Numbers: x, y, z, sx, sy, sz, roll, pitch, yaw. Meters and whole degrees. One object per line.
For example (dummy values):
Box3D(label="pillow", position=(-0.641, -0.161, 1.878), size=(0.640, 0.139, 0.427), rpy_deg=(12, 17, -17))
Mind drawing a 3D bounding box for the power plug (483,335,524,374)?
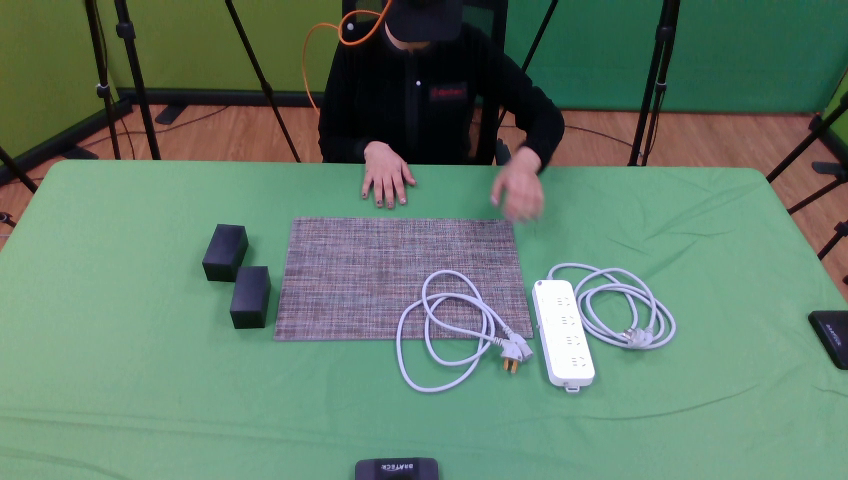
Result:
Box3D(label="power plug", position=(0.132, 0.193, 1.019), size=(0.072, 0.035, 0.052), rpy_deg=(7, 68, 25))

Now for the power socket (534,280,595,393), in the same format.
Box3D(label="power socket", position=(0.241, 0.158, 1.055), size=(0.072, 0.033, 0.225), rpy_deg=(1, 46, -3))
